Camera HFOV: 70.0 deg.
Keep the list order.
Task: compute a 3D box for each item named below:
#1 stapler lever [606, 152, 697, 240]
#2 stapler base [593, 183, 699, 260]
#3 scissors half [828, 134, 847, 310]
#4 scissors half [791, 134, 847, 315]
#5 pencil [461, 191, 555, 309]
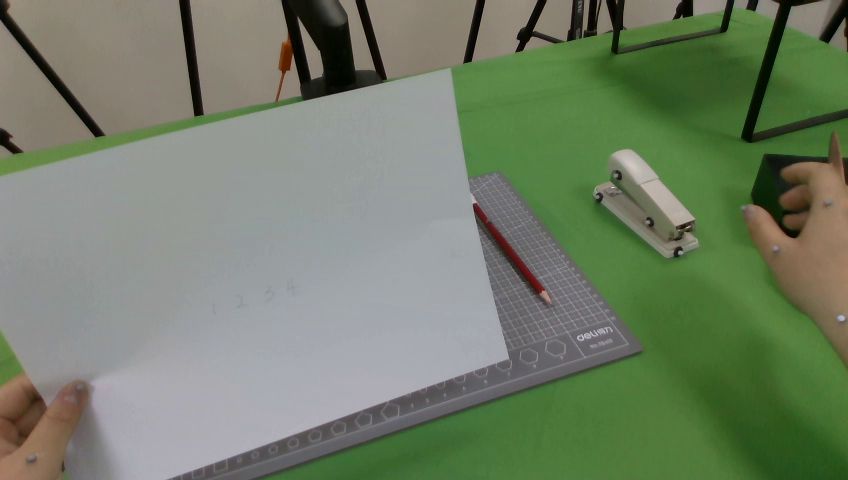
[{"bbox_3d":[0.228,-0.048,0.613,0.027,0.040,0.116,-20,44,-14],"label":"stapler lever"},{"bbox_3d":[0.228,-0.029,0.631,0.041,0.025,0.129,-20,43,-14],"label":"stapler base"},{"bbox_3d":[0.382,-0.017,0.538,0.040,0.013,0.174,-5,70,17],"label":"scissors half"},{"bbox_3d":[0.363,-0.018,0.546,0.040,0.013,0.174,12,76,28],"label":"scissors half"},{"bbox_3d":[0.081,0.005,0.609,0.012,0.012,0.191,-17,43,-15],"label":"pencil"}]
